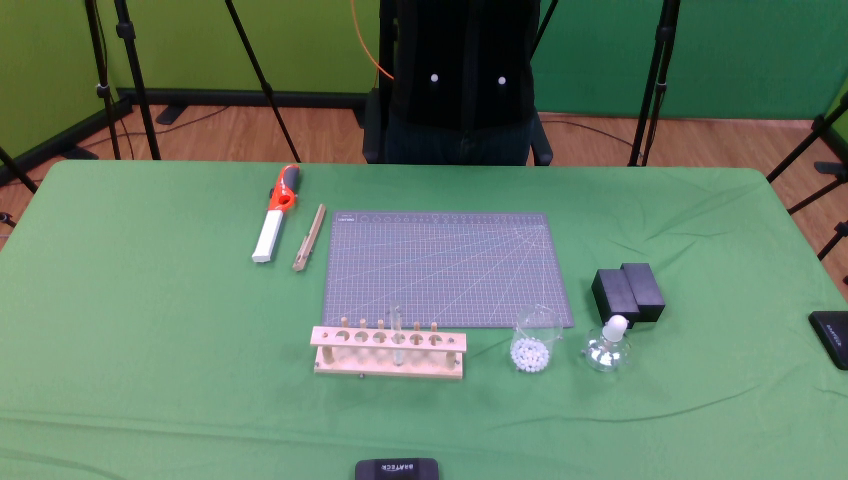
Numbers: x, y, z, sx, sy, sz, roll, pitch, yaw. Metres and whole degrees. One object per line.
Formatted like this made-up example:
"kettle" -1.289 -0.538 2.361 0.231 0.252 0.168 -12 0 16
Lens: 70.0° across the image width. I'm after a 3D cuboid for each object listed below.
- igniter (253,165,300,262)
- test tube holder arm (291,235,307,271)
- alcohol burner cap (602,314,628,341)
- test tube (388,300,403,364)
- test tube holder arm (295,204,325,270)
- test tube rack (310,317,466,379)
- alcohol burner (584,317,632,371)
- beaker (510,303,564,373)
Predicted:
"igniter" -0.298 -0.063 1.234 0.057 0.025 0.275 -2 45 7
"test tube holder arm" -0.234 0.024 1.163 0.010 0.015 0.087 -15 39 27
"alcohol burner cap" 0.309 0.138 0.974 0.034 0.048 0.033 2 52 -2
"test tube" -0.044 0.146 0.942 0.017 0.151 0.017 -1 44 1
"test tube holder arm" -0.222 -0.009 1.192 0.013 0.015 0.177 -16 38 26
"test tube rack" -0.056 0.171 0.986 0.242 0.085 0.066 3 45 -1
"alcohol burner" 0.307 0.163 0.999 0.078 0.120 0.077 1 48 -1
"beaker" 0.182 0.164 1.000 0.074 0.101 0.083 2 46 -1
